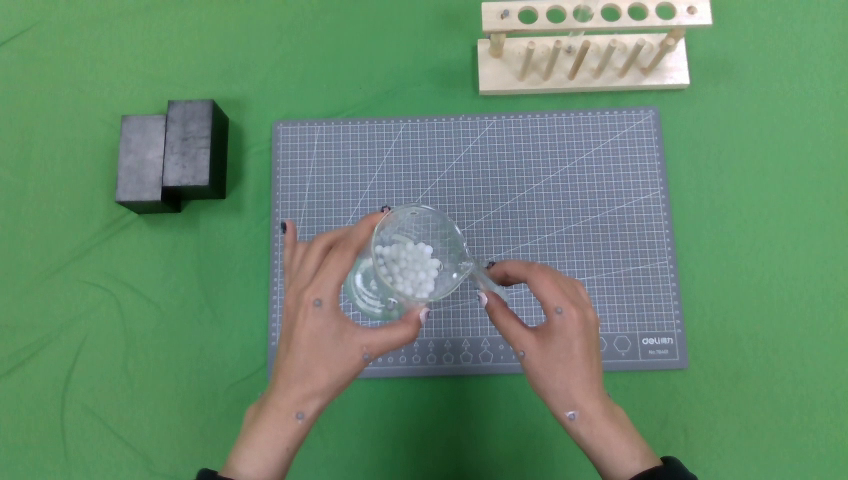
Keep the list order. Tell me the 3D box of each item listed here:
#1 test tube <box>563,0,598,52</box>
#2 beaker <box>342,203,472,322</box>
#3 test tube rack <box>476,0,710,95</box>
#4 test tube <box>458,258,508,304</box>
[{"bbox_3d":[0.171,-0.244,0.637,0.017,0.151,0.017,0,75,-1],"label":"test tube"},{"bbox_3d":[-0.018,0.023,0.476,0.084,0.100,0.073,11,70,-18],"label":"beaker"},{"bbox_3d":[0.183,-0.216,0.681,0.242,0.085,0.066,-1,78,1],"label":"test tube rack"},{"bbox_3d":[0.054,0.038,0.520,0.017,0.151,0.017,-4,75,16],"label":"test tube"}]
